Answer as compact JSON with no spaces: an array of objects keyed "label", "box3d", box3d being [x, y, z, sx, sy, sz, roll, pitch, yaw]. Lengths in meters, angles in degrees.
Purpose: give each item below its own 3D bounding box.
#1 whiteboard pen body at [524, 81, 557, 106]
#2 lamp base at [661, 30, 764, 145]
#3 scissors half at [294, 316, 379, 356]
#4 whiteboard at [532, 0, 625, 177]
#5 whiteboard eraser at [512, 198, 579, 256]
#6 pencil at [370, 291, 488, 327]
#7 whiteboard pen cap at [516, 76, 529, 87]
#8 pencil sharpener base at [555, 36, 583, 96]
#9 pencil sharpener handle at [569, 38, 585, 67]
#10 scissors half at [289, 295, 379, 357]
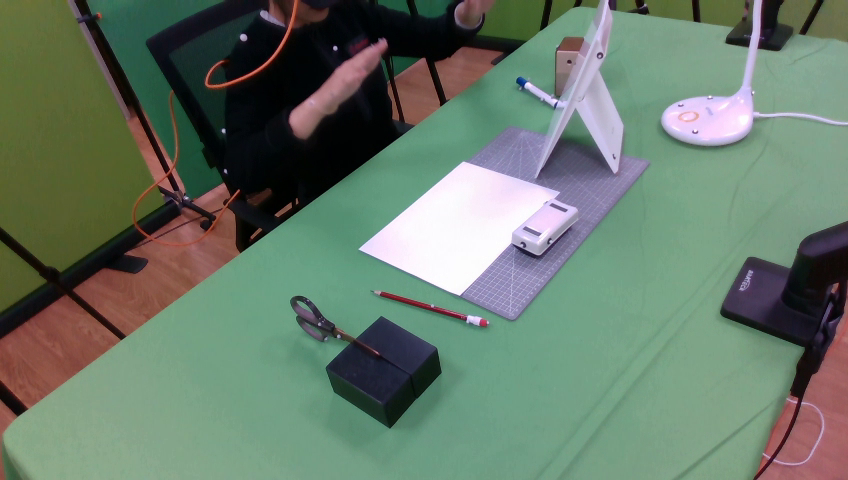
[{"label":"whiteboard pen body","box3d":[0.249,-0.321,1.313,0.017,0.017,0.139,-24,44,-17]},{"label":"lamp base","box3d":[0.535,-0.287,1.095,0.179,0.181,0.159,-10,40,-4]},{"label":"scissors half","box3d":[-0.119,0.132,0.813,0.174,0.040,0.013,9,31,44]},{"label":"whiteboard","box3d":[0.320,-0.258,1.050,0.144,0.306,0.217,21,45,4]},{"label":"whiteboard eraser","box3d":[0.191,-0.019,0.948,0.055,0.042,0.113,26,51,36]},{"label":"pencil","box3d":[0.003,0.097,0.876,0.193,0.012,0.012,13,45,25]},{"label":"whiteboard pen cap","box3d":[0.221,-0.355,1.352,0.018,0.018,0.033,-24,46,-17]},{"label":"pencil sharpener base","box3d":[0.317,-0.371,1.290,0.061,0.107,0.076,10,43,22]},{"label":"pencil sharpener handle","box3d":[0.332,-0.413,1.317,0.036,0.068,0.030,19,46,13]},{"label":"scissors half","box3d":[-0.123,0.114,0.803,0.174,0.040,0.013,26,48,32]}]
